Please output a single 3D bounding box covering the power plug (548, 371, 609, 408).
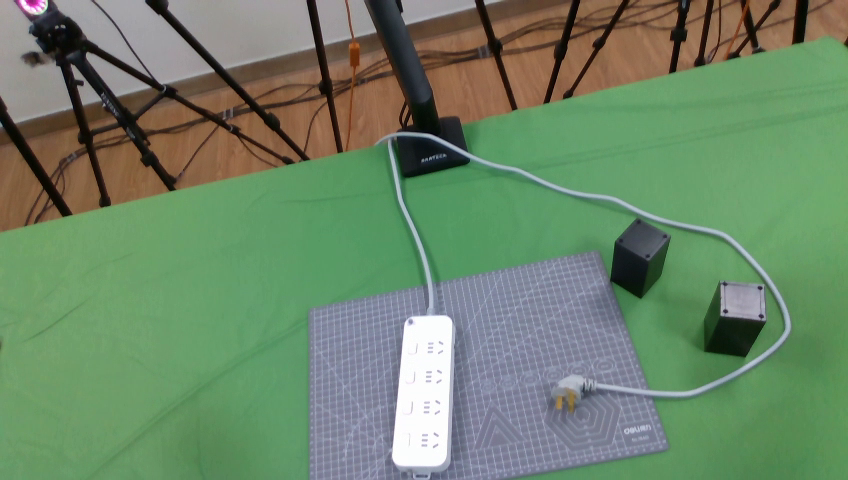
[{"bbox_3d":[0.194,0.189,0.765,0.072,0.035,0.052,-6,36,22],"label":"power plug"}]

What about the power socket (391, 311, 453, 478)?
[{"bbox_3d":[-0.001,0.197,0.809,0.072,0.033,0.224,-3,55,10],"label":"power socket"}]
